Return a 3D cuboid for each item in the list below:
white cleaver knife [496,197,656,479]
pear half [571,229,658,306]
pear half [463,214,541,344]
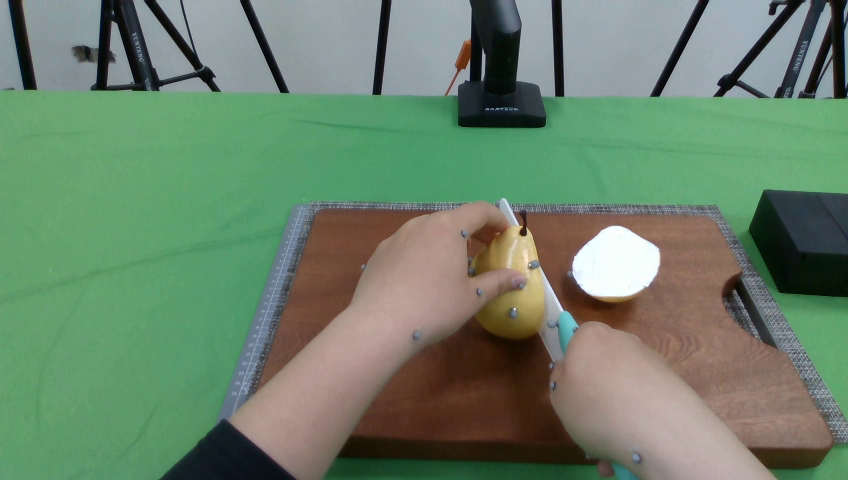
[{"bbox_3d":[0.097,0.066,0.445,0.021,0.066,0.283,-11,40,-4],"label":"white cleaver knife"},{"bbox_3d":[0.163,0.028,0.519,0.070,0.031,0.087,0,37,18],"label":"pear half"},{"bbox_3d":[0.058,0.027,0.459,0.056,0.111,0.075,-9,35,-10],"label":"pear half"}]
